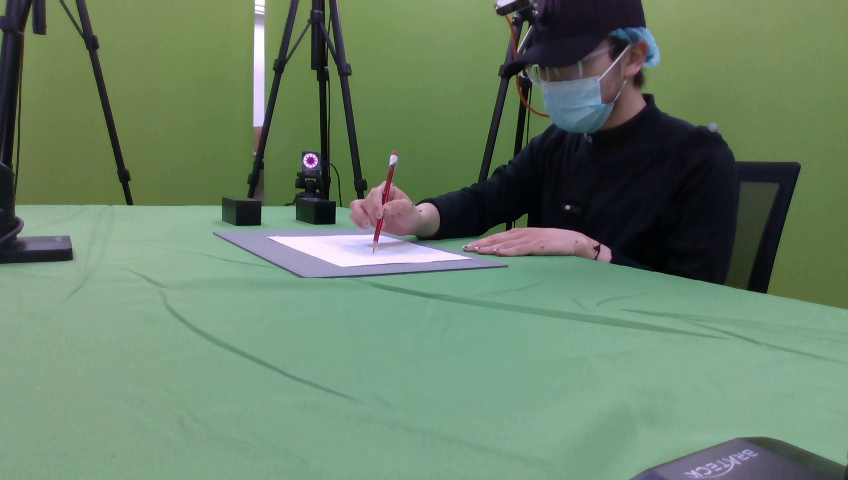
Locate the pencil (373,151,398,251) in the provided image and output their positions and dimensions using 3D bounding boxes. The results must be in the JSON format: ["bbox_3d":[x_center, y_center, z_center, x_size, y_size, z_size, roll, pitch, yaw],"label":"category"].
[{"bbox_3d":[-0.061,-0.064,0.938,0.012,0.193,0.012,7,-32,5],"label":"pencil"}]
